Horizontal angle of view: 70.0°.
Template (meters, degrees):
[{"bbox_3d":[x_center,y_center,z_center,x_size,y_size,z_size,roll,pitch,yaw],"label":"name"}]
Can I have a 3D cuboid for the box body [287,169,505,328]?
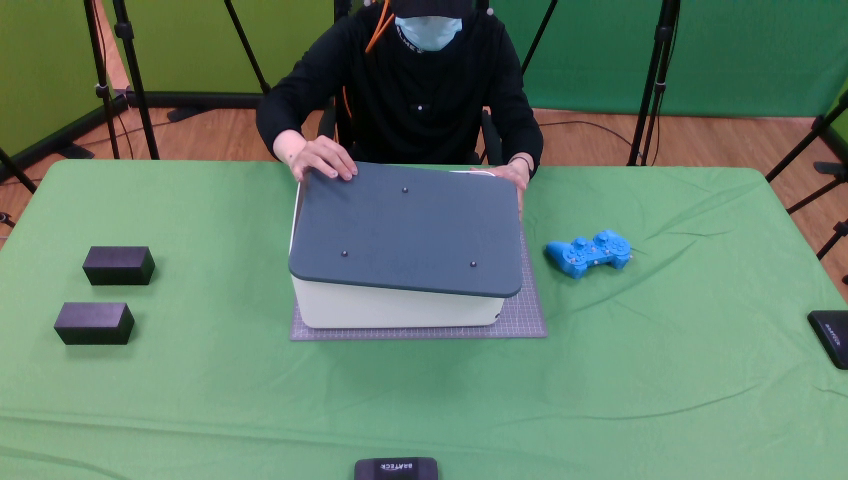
[{"bbox_3d":[-0.040,0.015,1.075,0.364,0.161,0.252,-1,47,-4],"label":"box body"}]

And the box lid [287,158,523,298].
[{"bbox_3d":[-0.020,-0.027,1.000,0.372,0.015,0.261,5,51,-1],"label":"box lid"}]

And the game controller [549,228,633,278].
[{"bbox_3d":[0.332,0.016,1.182,0.155,0.052,0.096,-12,52,-13],"label":"game controller"}]
